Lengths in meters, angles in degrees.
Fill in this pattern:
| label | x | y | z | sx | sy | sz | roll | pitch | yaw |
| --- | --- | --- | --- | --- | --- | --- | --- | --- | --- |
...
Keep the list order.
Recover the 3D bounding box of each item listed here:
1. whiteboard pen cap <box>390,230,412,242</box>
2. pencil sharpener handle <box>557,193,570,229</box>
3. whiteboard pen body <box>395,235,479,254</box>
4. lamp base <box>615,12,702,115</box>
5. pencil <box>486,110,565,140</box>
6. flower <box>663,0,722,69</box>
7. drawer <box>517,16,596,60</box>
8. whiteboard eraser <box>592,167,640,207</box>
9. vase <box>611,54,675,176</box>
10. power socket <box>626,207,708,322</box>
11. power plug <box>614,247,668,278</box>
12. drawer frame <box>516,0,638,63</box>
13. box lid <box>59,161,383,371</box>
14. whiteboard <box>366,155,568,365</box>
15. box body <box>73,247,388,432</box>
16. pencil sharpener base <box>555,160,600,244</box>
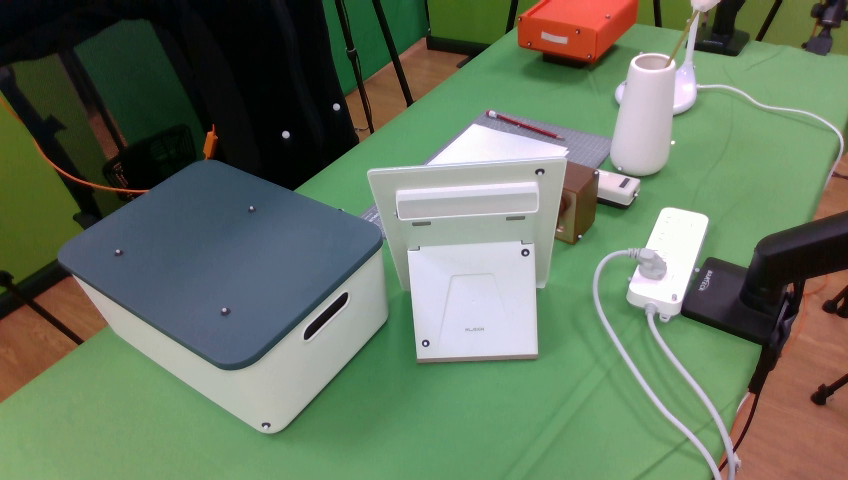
| label | x | y | z | sx | sy | sz | roll | pitch | yaw |
| --- | --- | --- | --- | --- | --- | --- | --- | --- | --- |
| whiteboard pen cap | -0.036 | -0.006 | 0.980 | 0.033 | 0.018 | 0.018 | 9 | 43 | 17 |
| pencil sharpener handle | 0.195 | -0.038 | 0.908 | 0.035 | 0.068 | 0.031 | 24 | 50 | 30 |
| whiteboard pen body | 0.019 | 0.005 | 0.963 | 0.140 | 0.017 | 0.017 | 9 | 43 | 17 |
| lamp base | 0.484 | -0.363 | 1.211 | 0.180 | 0.181 | 0.159 | -15 | 41 | -14 |
| pencil | 0.204 | -0.233 | 1.226 | 0.192 | 0.012 | 0.012 | 29 | 52 | 33 |
| flower | 0.379 | -0.261 | 0.965 | 0.044 | 0.362 | 0.038 | 21 | 53 | 5 |
| drawer | 0.353 | -0.506 | 1.405 | 0.193 | 0.073 | 0.212 | 23 | 49 | 32 |
| whiteboard eraser | 0.303 | -0.091 | 1.024 | 0.112 | 0.042 | 0.056 | 21 | 49 | 28 |
| vase | 0.377 | -0.209 | 1.031 | 0.098 | 0.201 | 0.097 | -3 | 40 | 3 |
| power socket | 0.359 | 0.025 | 0.886 | 0.072 | 0.033 | 0.227 | 16 | 46 | 26 |
| power plug | 0.306 | 0.031 | 0.851 | 0.072 | 0.053 | 0.035 | 24 | 49 | 33 |
| drawer frame | 0.355 | -0.508 | 1.410 | 0.200 | 0.083 | 0.214 | 23 | 51 | 32 |
| box lid | -0.262 | 0.010 | 0.777 | 0.369 | 0.015 | 0.264 | 21 | 48 | 29 |
| whiteboard | 0.059 | 0.050 | 0.738 | 0.217 | 0.307 | 0.143 | -3 | 60 | 5 |
| box body | -0.255 | 0.065 | 0.827 | 0.361 | 0.161 | 0.255 | 21 | 48 | 29 |
| pencil sharpener base | 0.228 | -0.057 | 0.945 | 0.061 | 0.107 | 0.077 | 24 | 50 | 31 |
